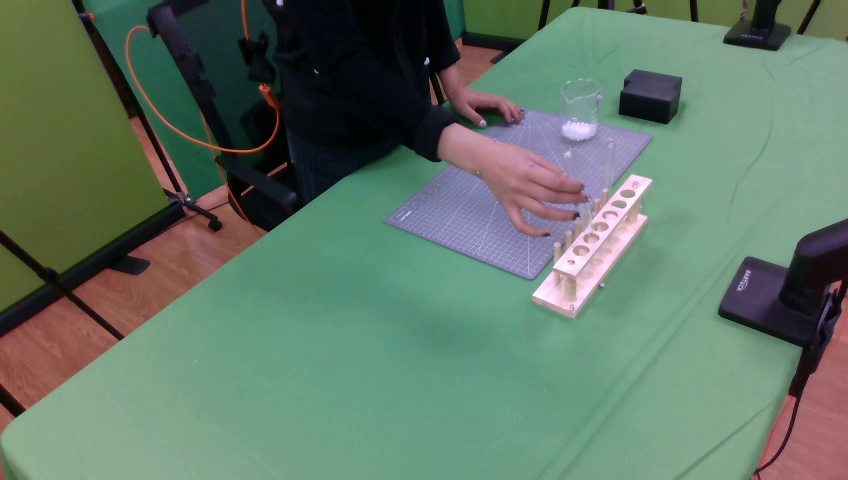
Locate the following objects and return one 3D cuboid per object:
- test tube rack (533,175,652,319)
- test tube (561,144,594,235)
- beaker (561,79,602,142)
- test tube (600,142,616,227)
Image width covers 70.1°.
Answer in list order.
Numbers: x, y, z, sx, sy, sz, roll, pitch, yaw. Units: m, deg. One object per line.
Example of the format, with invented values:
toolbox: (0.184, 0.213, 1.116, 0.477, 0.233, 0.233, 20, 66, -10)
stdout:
test tube rack: (0.251, -0.001, 0.888, 0.066, 0.085, 0.243, 22, 49, 32)
test tube: (0.200, -0.061, 0.782, 0.017, 0.151, 0.017, -16, 40, 14)
beaker: (0.296, -0.243, 1.150, 0.073, 0.101, 0.084, 22, 50, 32)
test tube: (0.275, -0.081, 0.908, 0.017, 0.151, 0.017, -5, 40, 5)
